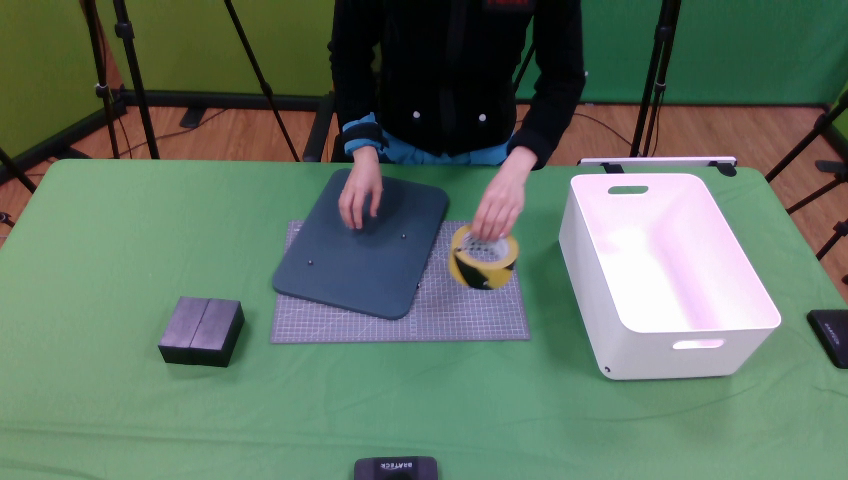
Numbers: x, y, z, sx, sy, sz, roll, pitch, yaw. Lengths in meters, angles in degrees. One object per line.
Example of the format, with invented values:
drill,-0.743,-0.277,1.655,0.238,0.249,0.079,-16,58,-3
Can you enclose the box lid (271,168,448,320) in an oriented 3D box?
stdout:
box lid,-0.115,-0.007,1.200,0.263,0.015,0.369,12,46,8

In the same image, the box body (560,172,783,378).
box body,0.405,0.057,1.074,0.254,0.161,0.361,-2,46,-5

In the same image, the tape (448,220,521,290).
tape,0.098,0.023,0.998,0.117,0.053,0.116,5,44,-4
